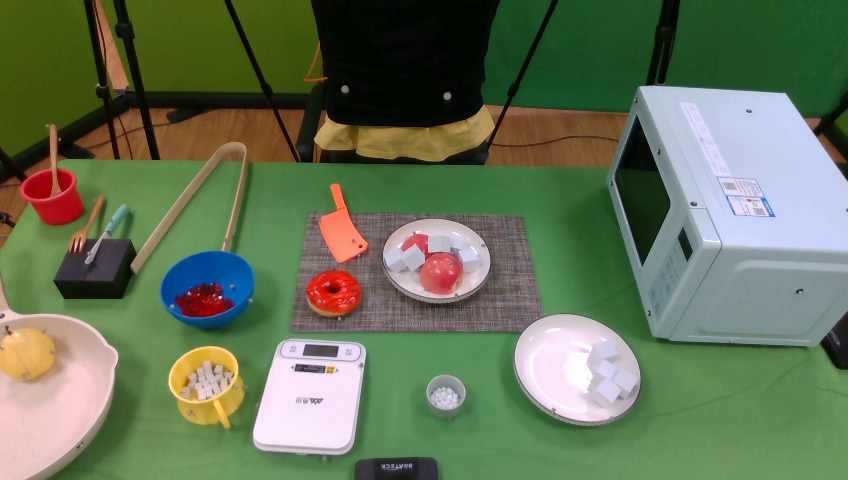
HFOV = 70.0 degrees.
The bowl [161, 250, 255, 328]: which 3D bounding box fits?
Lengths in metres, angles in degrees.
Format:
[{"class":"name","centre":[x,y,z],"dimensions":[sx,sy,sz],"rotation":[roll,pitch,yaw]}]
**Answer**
[{"class":"bowl","centre":[-0.362,0.098,1.039],"dimensions":[0.151,0.077,0.150],"rotation":[2,45,-2]}]

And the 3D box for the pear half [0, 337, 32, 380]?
[{"class":"pear half","centre":[-0.631,0.184,0.921],"dimensions":[0.070,0.088,0.031],"rotation":[29,49,19]}]

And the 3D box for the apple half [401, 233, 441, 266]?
[{"class":"apple half","centre":[-0.004,0.013,1.160],"dimensions":[0.081,0.033,0.081],"rotation":[5,44,-4]}]

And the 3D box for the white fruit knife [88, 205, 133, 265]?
[{"class":"white fruit knife","centre":[-0.584,-0.013,1.129],"dimensions":[0.016,0.027,0.206],"rotation":[0,32,-5]}]

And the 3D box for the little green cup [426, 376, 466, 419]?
[{"class":"little green cup","centre":[0.033,0.248,0.950],"dimensions":[0.061,0.039,0.061],"rotation":[2,46,-2]}]

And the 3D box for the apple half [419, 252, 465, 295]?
[{"class":"apple half","centre":[0.035,0.056,1.109],"dimensions":[0.074,0.053,0.081],"rotation":[37,55,25]}]

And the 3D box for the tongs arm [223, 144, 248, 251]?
[{"class":"tongs arm","centre":[-0.398,-0.072,1.232],"dimensions":[0.051,0.027,0.382],"rotation":[-3,45,0]}]

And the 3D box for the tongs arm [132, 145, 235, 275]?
[{"class":"tongs arm","centre":[-0.483,-0.075,1.236],"dimensions":[0.028,0.028,0.385],"rotation":[5,45,13]}]

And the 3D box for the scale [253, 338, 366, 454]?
[{"class":"scale","centre":[-0.175,0.236,0.951],"dimensions":[0.149,0.032,0.199],"rotation":[4,45,-1]}]

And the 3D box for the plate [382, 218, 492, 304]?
[{"class":"plate","centre":[0.023,0.042,1.143],"dimensions":[0.209,0.038,0.208],"rotation":[2,46,-2]}]

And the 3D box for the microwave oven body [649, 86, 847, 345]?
[{"class":"microwave oven body","centre":[0.567,-0.053,1.118],"dimensions":[0.326,0.261,0.439],"rotation":[2,45,-1]}]

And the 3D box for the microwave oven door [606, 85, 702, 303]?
[{"class":"microwave oven door","centre":[0.423,-0.094,1.140],"dimensions":[0.039,0.245,0.353],"rotation":[2,46,-1]}]

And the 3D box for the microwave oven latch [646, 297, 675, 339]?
[{"class":"microwave oven latch","centre":[0.412,0.134,1.061],"dimensions":[0.030,0.029,0.078],"rotation":[4,45,1]}]

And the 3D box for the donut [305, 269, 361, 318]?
[{"class":"donut","centre":[-0.160,0.094,1.075],"dimensions":[0.099,0.048,0.098],"rotation":[4,45,-3]}]

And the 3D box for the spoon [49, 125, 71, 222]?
[{"class":"spoon","centre":[-0.719,-0.131,1.189],"dimensions":[0.041,0.021,0.193],"rotation":[-3,91,-5]}]

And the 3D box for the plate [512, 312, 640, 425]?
[{"class":"plate","centre":[0.246,0.213,0.999],"dimensions":[0.208,0.039,0.206],"rotation":[2,46,-2]}]

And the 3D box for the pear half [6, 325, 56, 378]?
[{"class":"pear half","centre":[-0.608,0.158,0.935],"dimensions":[0.076,0.110,0.056],"rotation":[31,51,20]}]

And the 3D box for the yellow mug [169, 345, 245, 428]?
[{"class":"yellow mug","centre":[-0.322,0.230,0.922],"dimensions":[0.100,0.064,0.130],"rotation":[-24,53,-25]}]

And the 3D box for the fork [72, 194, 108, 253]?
[{"class":"fork","centre":[-0.634,-0.036,1.158],"dimensions":[0.028,0.019,0.206],"rotation":[-7,32,-9]}]

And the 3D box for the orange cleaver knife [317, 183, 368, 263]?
[{"class":"orange cleaver knife","centre":[-0.174,-0.037,1.218],"dimensions":[0.077,0.012,0.210],"rotation":[-17,51,-11]}]

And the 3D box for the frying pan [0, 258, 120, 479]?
[{"class":"frying pan","centre":[-0.647,0.164,0.936],"dimensions":[0.307,0.103,0.485],"rotation":[-19,58,-22]}]
